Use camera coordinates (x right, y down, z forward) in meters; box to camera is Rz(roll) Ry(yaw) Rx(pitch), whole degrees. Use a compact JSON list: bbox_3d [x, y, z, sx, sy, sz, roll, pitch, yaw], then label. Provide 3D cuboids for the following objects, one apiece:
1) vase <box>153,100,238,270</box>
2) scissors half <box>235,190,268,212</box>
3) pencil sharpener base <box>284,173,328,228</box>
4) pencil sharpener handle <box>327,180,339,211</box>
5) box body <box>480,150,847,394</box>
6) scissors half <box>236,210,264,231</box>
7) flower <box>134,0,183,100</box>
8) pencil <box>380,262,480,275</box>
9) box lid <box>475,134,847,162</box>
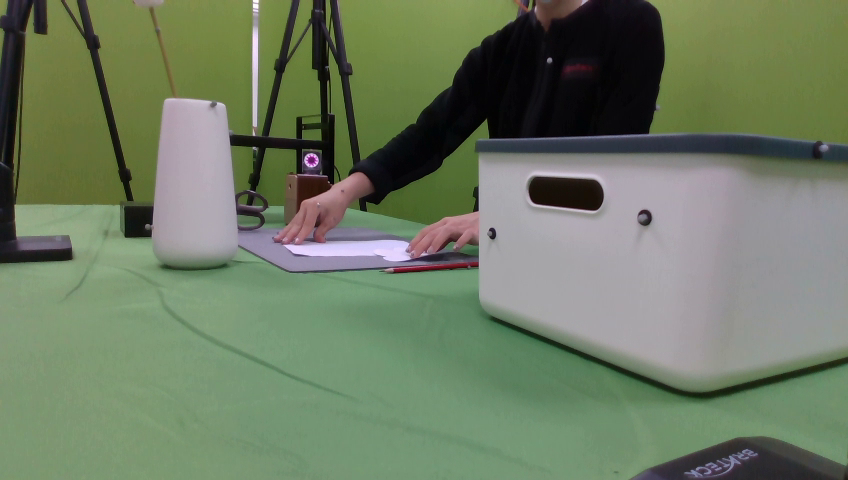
[{"bbox_3d":[-0.278,-0.066,0.736,0.098,0.200,0.098,2,9,0],"label":"vase"},{"bbox_3d":[-0.363,-0.070,1.060,0.176,0.040,0.013,0,17,-23],"label":"scissors half"},{"bbox_3d":[-0.239,-0.081,1.231,0.077,0.107,0.061,-2,8,-36],"label":"pencil sharpener base"},{"bbox_3d":[-0.194,-0.095,1.257,0.031,0.067,0.036,-2,-6,-36],"label":"pencil sharpener handle"},{"bbox_3d":[0.254,0.002,0.539,0.366,0.160,0.253,-2,8,-31],"label":"box body"},{"bbox_3d":[-0.369,-0.051,1.065,0.176,0.040,0.012,19,14,-27],"label":"scissors half"},{"bbox_3d":[-0.282,-0.147,0.713,0.038,0.362,0.044,-23,24,-31],"label":"flower"},{"bbox_3d":[0.030,0.036,0.794,0.195,0.012,0.012,-3,9,-30],"label":"pencil"},{"bbox_3d":[0.256,-0.073,0.528,0.373,0.015,0.262,-2,8,-31],"label":"box lid"}]
